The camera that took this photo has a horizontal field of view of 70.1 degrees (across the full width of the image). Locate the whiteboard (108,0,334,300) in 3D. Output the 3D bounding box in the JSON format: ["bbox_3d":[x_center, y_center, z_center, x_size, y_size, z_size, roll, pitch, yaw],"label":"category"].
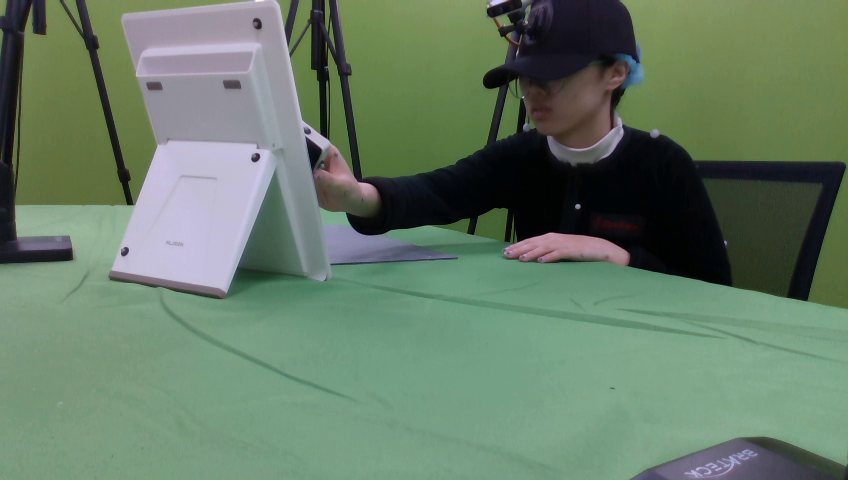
[{"bbox_3d":[-0.248,-0.072,0.624,0.216,0.305,0.144,6,28,26],"label":"whiteboard"}]

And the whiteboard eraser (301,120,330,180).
[{"bbox_3d":[-0.151,-0.080,0.679,0.055,0.112,0.042,36,42,0],"label":"whiteboard eraser"}]
